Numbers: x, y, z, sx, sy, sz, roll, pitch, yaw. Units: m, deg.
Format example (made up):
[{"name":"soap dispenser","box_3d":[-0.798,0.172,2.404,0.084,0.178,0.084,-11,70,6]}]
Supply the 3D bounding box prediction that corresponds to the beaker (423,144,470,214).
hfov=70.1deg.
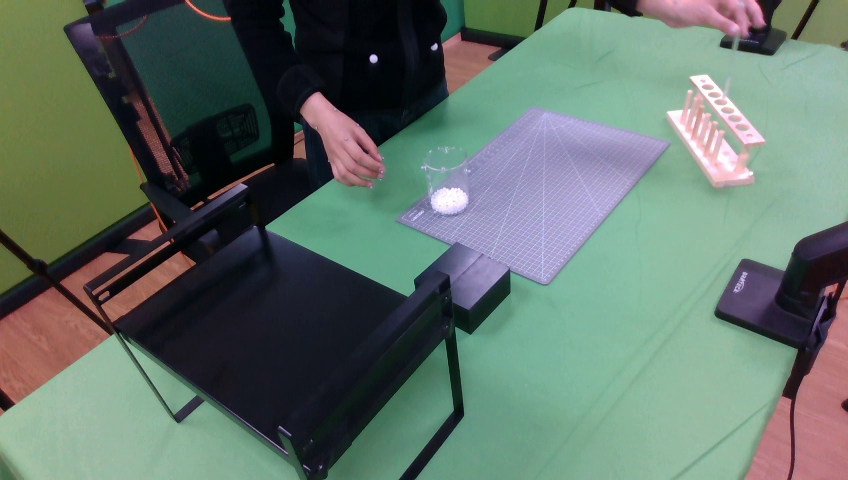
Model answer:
[{"name":"beaker","box_3d":[0.040,-0.102,1.023,0.074,0.101,0.083,-3,40,4]}]

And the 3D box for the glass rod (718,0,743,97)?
[{"name":"glass rod","box_3d":[0.489,-0.324,0.956,0.008,0.200,0.008,-2,32,2]}]

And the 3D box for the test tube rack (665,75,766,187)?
[{"name":"test tube rack","box_3d":[0.512,-0.201,1.082,0.067,0.085,0.241,-5,41,2]}]
